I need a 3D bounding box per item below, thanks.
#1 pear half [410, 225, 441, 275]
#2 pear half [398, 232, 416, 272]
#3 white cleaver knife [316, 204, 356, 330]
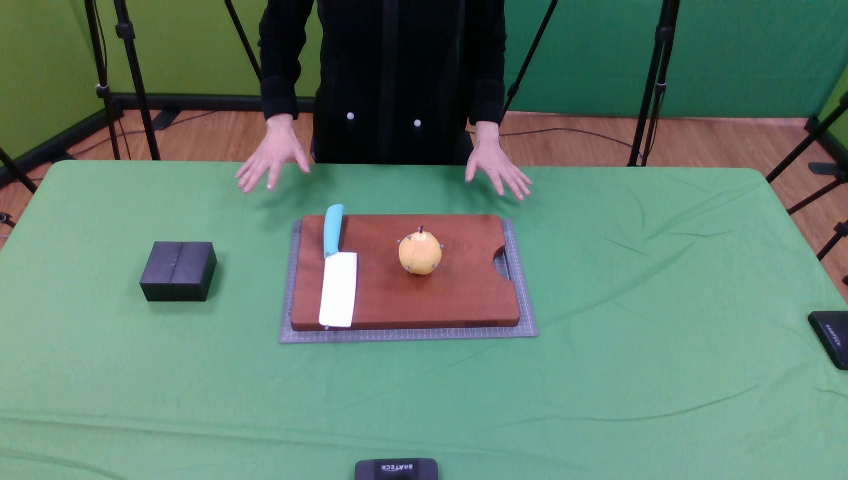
[{"bbox_3d":[0.004,0.013,1.085,0.056,0.110,0.076,2,51,-3],"label":"pear half"},{"bbox_3d":[-0.031,0.017,1.092,0.031,0.088,0.070,1,51,-2],"label":"pear half"},{"bbox_3d":[-0.158,0.043,1.111,0.066,0.021,0.284,3,51,-8],"label":"white cleaver knife"}]
